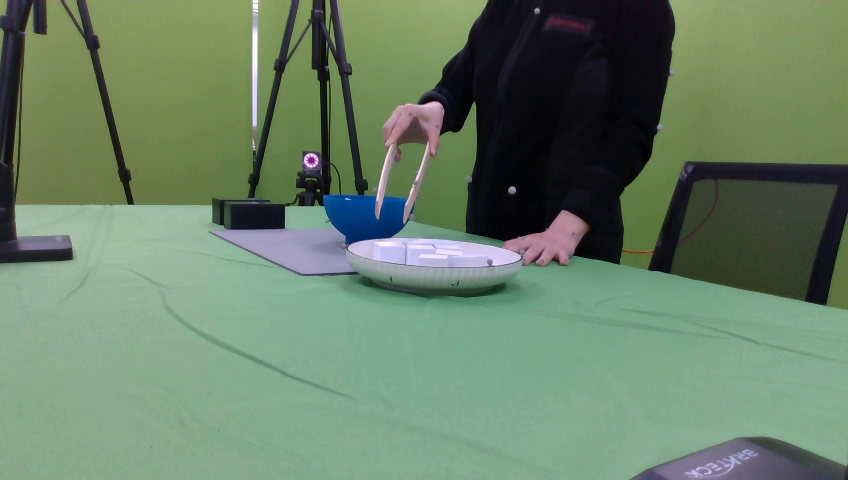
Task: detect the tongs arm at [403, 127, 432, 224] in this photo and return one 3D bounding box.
[{"bbox_3d":[-0.019,-0.109,0.900,0.051,0.026,0.384,3,24,7],"label":"tongs arm"}]

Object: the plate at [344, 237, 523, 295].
[{"bbox_3d":[0.010,0.030,0.707,0.208,0.039,0.207,3,8,0],"label":"plate"}]

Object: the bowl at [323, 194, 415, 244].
[{"bbox_3d":[-0.090,-0.032,0.986,0.151,0.077,0.151,2,7,0],"label":"bowl"}]

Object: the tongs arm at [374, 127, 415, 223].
[{"bbox_3d":[-0.043,-0.110,0.901,0.028,0.028,0.387,-2,24,5],"label":"tongs arm"}]
